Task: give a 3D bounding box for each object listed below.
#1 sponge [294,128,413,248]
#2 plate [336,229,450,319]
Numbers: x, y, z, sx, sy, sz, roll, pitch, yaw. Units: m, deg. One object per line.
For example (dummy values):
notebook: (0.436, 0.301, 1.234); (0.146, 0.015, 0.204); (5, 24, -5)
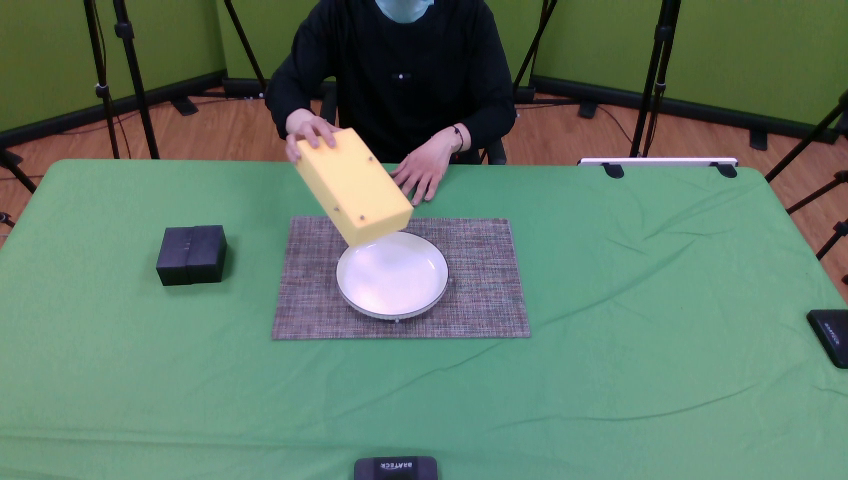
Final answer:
sponge: (-0.128, -0.097, 1.075); (0.118, 0.061, 0.206); (-24, 65, -31)
plate: (-0.056, 0.065, 1.113); (0.208, 0.039, 0.206); (2, 46, -2)
